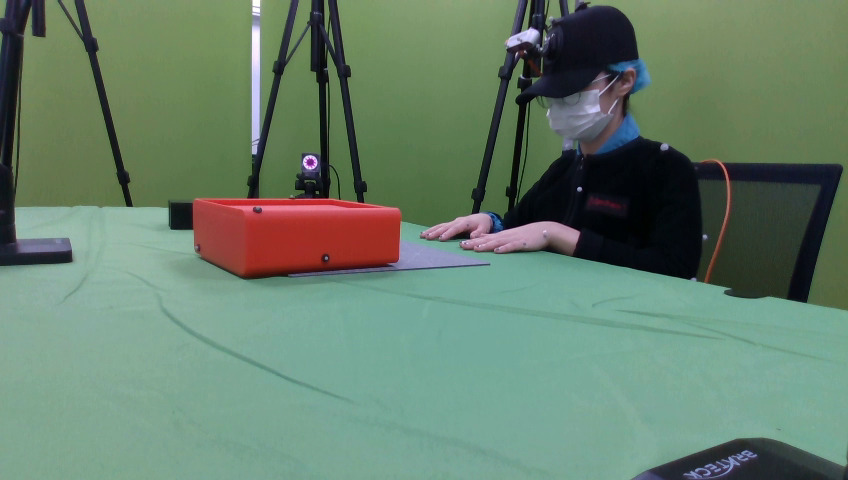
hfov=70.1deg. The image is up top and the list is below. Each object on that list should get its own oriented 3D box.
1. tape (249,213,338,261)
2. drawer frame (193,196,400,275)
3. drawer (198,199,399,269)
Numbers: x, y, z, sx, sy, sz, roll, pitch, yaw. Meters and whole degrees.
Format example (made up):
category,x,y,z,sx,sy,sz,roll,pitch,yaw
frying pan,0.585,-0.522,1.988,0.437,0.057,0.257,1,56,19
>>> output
category,x,y,z,sx,sy,sz,roll,pitch,yaw
tape,-0.174,-0.006,0.813,0.117,0.052,0.117,2,7,0
drawer frame,-0.173,-0.014,0.815,0.215,0.082,0.200,-4,10,-37
drawer,-0.171,-0.014,0.818,0.213,0.073,0.193,-4,10,-36
